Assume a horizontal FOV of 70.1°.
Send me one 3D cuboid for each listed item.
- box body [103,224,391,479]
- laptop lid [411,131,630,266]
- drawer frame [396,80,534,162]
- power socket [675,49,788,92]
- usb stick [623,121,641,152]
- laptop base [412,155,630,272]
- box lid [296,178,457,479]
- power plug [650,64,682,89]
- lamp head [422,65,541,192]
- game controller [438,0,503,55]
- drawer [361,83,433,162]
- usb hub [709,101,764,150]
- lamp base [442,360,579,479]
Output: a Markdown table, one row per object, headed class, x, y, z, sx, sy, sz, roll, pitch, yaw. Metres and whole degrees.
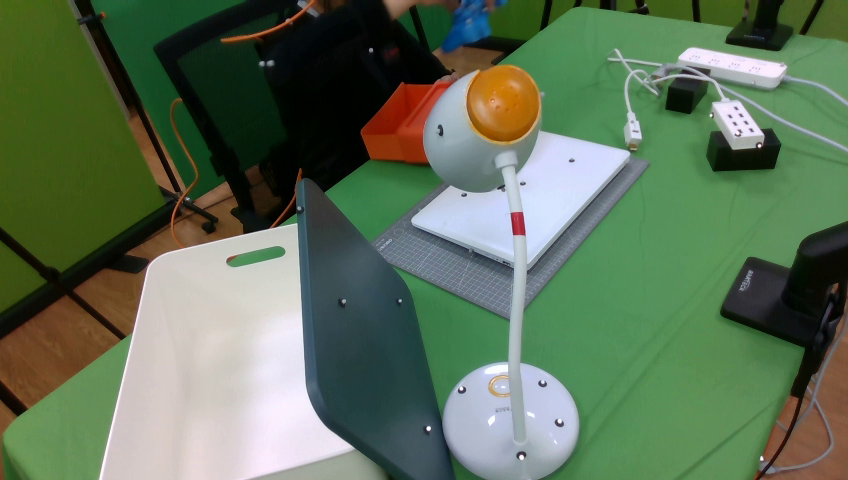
| class | x | y | z | sx | sy | sz | roll | pitch | yaw |
| --- | --- | --- | --- | --- | --- | --- | --- | --- | --- |
| box body | -0.190 | 0.161 | 0.723 | 0.255 | 0.161 | 0.361 | -13 | 40 | -5 |
| laptop lid | 0.172 | -0.094 | 1.050 | 0.239 | 0.013 | 0.358 | 23 | 49 | 36 |
| drawer frame | 0.087 | -0.230 | 1.170 | 0.212 | 0.083 | 0.201 | 6 | 42 | 25 |
| power socket | 0.647 | -0.363 | 1.284 | 0.225 | 0.033 | 0.072 | 26 | 53 | 35 |
| usb stick | 0.389 | -0.191 | 1.128 | 0.021 | 0.027 | 0.059 | 8 | 61 | -9 |
| laptop base | 0.175 | -0.084 | 1.056 | 0.233 | 0.023 | 0.355 | 21 | 48 | 35 |
| box lid | -0.059 | 0.103 | 0.702 | 0.015 | 0.265 | 0.369 | -30 | 39 | 11 |
| power plug | 0.498 | -0.341 | 1.263 | 0.035 | 0.052 | 0.072 | 20 | 10 | -7 |
| lamp head | 0.060 | -0.106 | 0.560 | 0.113 | 0.112 | 0.122 | -17 | 0 | -8 |
| game controller | 0.082 | -0.411 | 1.113 | 0.096 | 0.052 | 0.155 | 2 | 54 | 34 |
| drawer | 0.012 | -0.236 | 1.206 | 0.210 | 0.073 | 0.194 | 8 | 44 | 27 |
| usb hub | 0.534 | -0.199 | 1.040 | 0.049 | 0.025 | 0.124 | -5 | 39 | 8 |
| lamp base | 0.094 | 0.158 | 0.657 | 0.161 | 0.181 | 0.178 | -13 | 42 | -5 |
